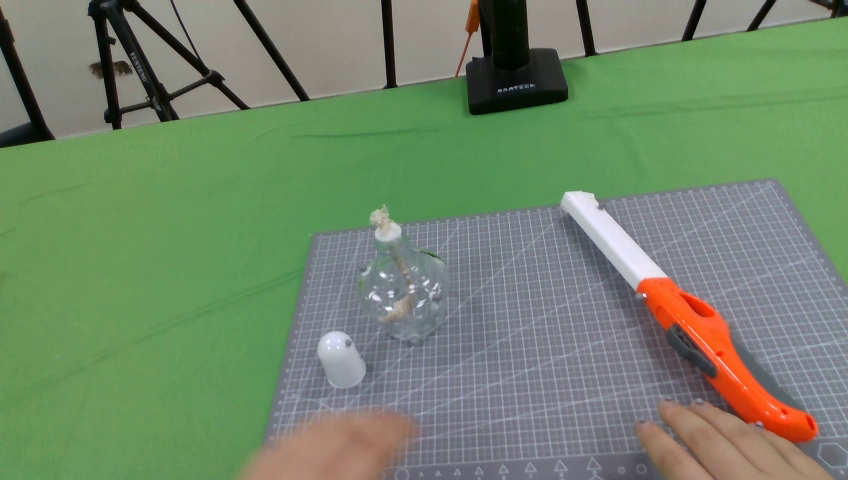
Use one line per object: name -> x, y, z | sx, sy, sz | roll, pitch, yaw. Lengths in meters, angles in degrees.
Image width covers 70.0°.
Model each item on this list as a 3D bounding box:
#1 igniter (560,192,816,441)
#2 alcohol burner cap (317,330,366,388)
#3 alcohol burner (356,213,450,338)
igniter -> 0.184, 0.041, 0.469 | 0.057, 0.025, 0.273 | -2, 36, -21
alcohol burner cap -> -0.067, 0.090, 0.474 | 0.034, 0.048, 0.033 | -7, 43, 7
alcohol burner -> -0.019, 0.023, 0.480 | 0.078, 0.120, 0.077 | -6, 44, 6
